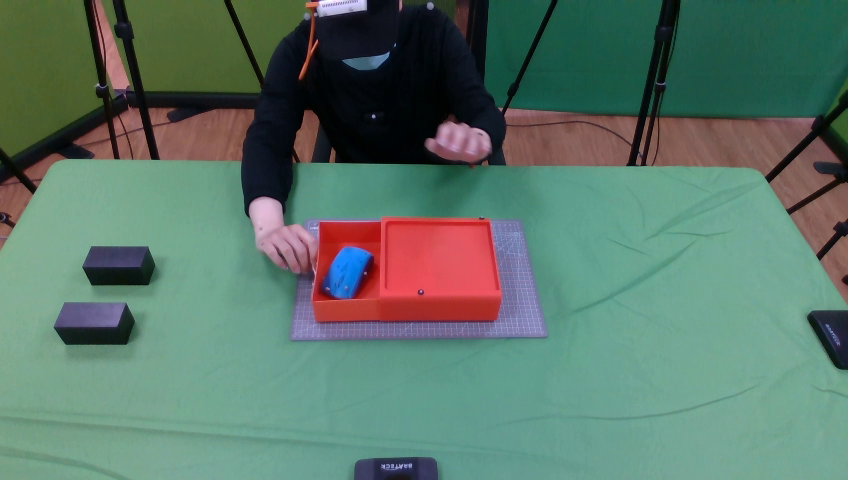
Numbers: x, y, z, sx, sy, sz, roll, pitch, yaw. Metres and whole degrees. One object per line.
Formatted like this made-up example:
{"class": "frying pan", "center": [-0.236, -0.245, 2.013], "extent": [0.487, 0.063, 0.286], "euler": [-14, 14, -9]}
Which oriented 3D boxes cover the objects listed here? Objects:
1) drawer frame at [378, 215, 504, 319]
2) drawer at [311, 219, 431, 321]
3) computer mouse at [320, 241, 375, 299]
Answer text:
{"class": "drawer frame", "center": [0.024, 0.047, 1.103], "extent": [0.214, 0.083, 0.200], "euler": [0, 46, -4]}
{"class": "drawer", "center": [-0.091, 0.049, 1.097], "extent": [0.212, 0.073, 0.193], "euler": [0, 45, -4]}
{"class": "computer mouse", "center": [-0.138, 0.052, 1.105], "extent": [0.063, 0.041, 0.117], "euler": [23, 57, 8]}
